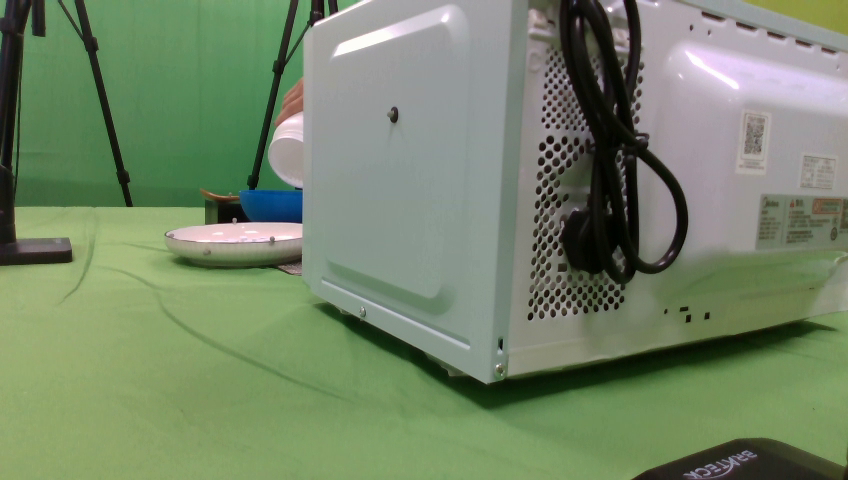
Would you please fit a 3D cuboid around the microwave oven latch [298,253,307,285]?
[{"bbox_3d":[-0.081,0.027,0.582,0.079,0.029,0.030,-1,7,-32],"label":"microwave oven latch"}]

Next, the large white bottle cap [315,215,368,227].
[{"bbox_3d":[-0.177,-0.041,1.309,0.115,0.018,0.115,2,6,0],"label":"large white bottle cap"}]

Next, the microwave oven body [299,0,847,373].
[{"bbox_3d":[0.151,-0.055,0.542,0.444,0.260,0.324,-2,7,-33],"label":"microwave oven body"}]

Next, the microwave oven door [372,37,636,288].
[{"bbox_3d":[0.110,-0.080,0.686,0.358,0.243,0.039,-2,9,-33],"label":"microwave oven door"}]

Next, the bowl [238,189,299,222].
[{"bbox_3d":[-0.245,-0.046,1.052,0.151,0.077,0.151,2,8,0],"label":"bowl"}]

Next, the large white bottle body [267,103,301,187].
[{"bbox_3d":[-0.208,-0.193,1.152,0.130,0.131,0.184,5,40,17],"label":"large white bottle body"}]

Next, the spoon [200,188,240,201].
[{"bbox_3d":[-0.338,-0.080,1.190,0.194,0.021,0.041,5,3,-19],"label":"spoon"}]

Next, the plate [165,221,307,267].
[{"bbox_3d":[-0.241,0.004,0.829,0.209,0.038,0.209,0,9,0],"label":"plate"}]
